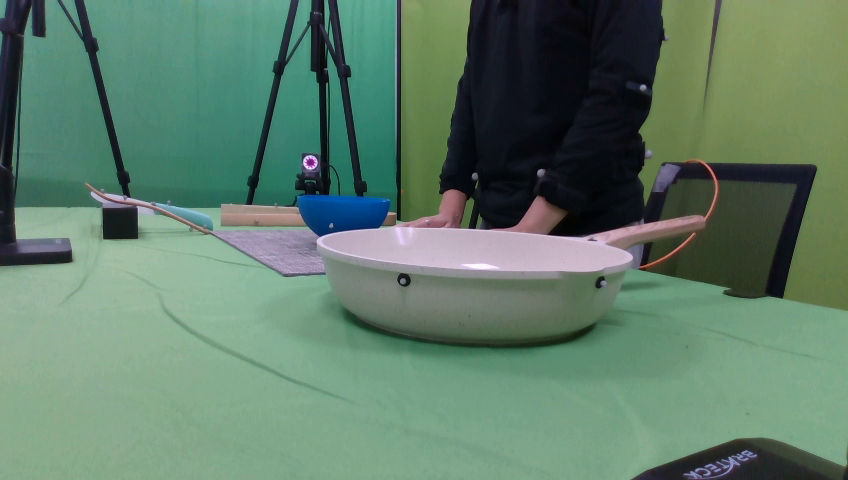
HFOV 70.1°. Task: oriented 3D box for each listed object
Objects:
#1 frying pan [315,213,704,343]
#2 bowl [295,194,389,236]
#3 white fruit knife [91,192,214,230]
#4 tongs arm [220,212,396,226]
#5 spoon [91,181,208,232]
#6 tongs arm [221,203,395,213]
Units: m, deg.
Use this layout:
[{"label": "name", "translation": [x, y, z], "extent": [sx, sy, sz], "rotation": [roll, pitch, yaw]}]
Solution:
[{"label": "frying pan", "translation": [0.133, 0.014, 0.629], "extent": [0.490, 0.102, 0.305], "rotation": [-11, 14, -29]}, {"label": "bowl", "translation": [-0.132, -0.032, 0.980], "extent": [0.151, 0.077, 0.151], "rotation": [2, 7, 0]}, {"label": "white fruit knife", "translation": [-0.477, -0.055, 1.077], "extent": [0.208, 0.027, 0.016], "rotation": [15, -5, -30]}, {"label": "tongs arm", "translation": [-0.233, -0.046, 1.292], "extent": [0.389, 0.028, 0.028], "rotation": [-1, 6, -27]}, {"label": "spoon", "translation": [-0.461, -0.053, 1.023], "extent": [0.195, 0.021, 0.041], "rotation": [21, 22, -24]}, {"label": "tongs arm", "translation": [-0.258, -0.061, 1.368], "extent": [0.386, 0.026, 0.050], "rotation": [1, 8, -14]}]
